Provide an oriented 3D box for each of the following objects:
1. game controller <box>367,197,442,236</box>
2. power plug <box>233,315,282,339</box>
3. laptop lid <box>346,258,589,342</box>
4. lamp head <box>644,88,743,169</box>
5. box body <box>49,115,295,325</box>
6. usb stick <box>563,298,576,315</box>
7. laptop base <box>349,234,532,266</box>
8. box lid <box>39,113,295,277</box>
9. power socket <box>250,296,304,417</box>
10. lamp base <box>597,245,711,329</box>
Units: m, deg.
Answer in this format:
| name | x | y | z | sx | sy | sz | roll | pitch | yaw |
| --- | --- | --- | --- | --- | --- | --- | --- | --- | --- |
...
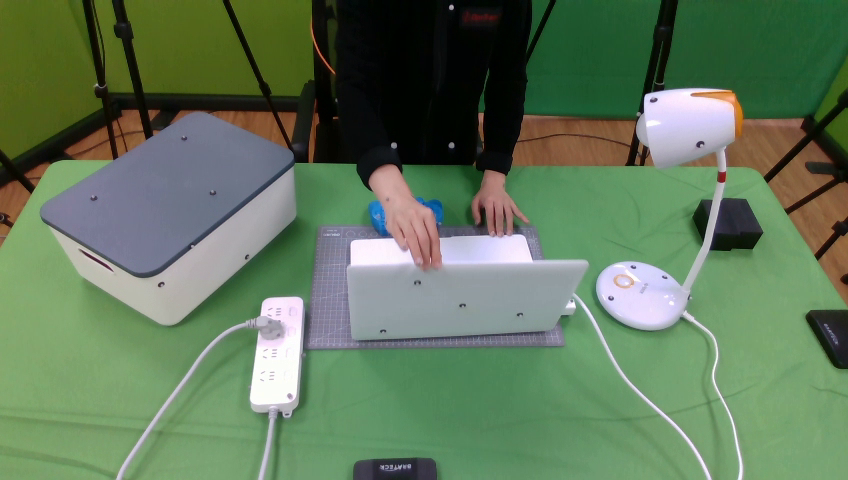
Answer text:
| name | x | y | z | sx | sy | sz | roll | pitch | yaw |
| --- | --- | --- | --- | --- | --- | --- | --- | --- | --- |
| game controller | -0.037 | -0.057 | 1.231 | 0.155 | 0.052 | 0.096 | -2 | 49 | -5 |
| power plug | -0.271 | 0.144 | 1.000 | 0.072 | 0.053 | 0.035 | 5 | 47 | 3 |
| laptop lid | 0.059 | 0.099 | 0.945 | 0.357 | 0.243 | 0.013 | -1 | 55 | -7 |
| lamp head | 0.380 | -0.161 | 0.851 | 0.122 | 0.113 | 0.112 | -4 | 42 | 25 |
| box body | -0.437 | -0.046 | 1.110 | 0.253 | 0.161 | 0.363 | 24 | 49 | 19 |
| usb stick | 0.240 | 0.119 | 1.085 | 0.059 | 0.027 | 0.021 | -1 | 50 | -2 |
| laptop base | 0.040 | 0.081 | 1.125 | 0.355 | 0.023 | 0.234 | -2 | 43 | -6 |
| box lid | -0.435 | -0.096 | 1.056 | 0.262 | 0.015 | 0.370 | 25 | 48 | 18 |
| power socket | -0.239 | 0.182 | 0.996 | 0.072 | 0.033 | 0.225 | -2 | 47 | -5 |
| lamp base | 0.418 | 0.051 | 1.072 | 0.179 | 0.181 | 0.160 | 22 | 49 | 13 |
